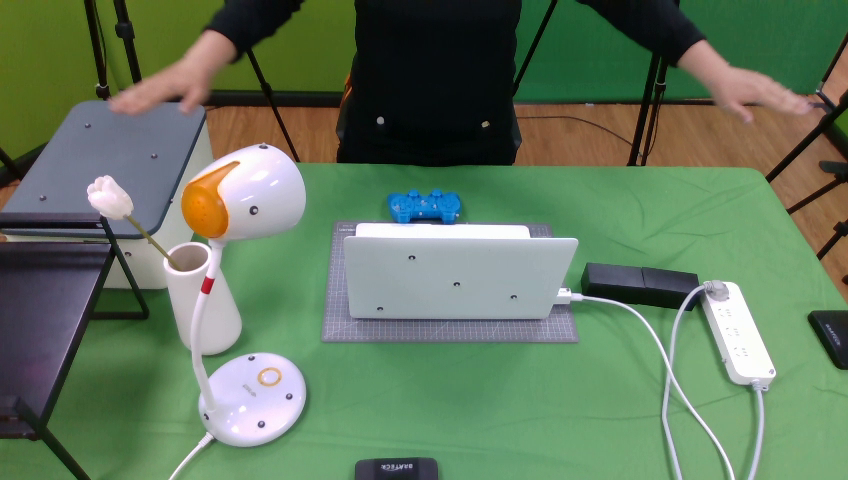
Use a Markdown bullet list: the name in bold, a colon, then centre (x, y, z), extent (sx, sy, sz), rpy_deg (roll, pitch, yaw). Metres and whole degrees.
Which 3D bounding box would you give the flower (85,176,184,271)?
- **flower**: centre (-0.365, 0.038, 0.894), extent (0.038, 0.364, 0.044), rpy_deg (-5, 53, 14)

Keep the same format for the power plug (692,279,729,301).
- **power plug**: centre (0.522, 0.092, 1.115), extent (0.072, 0.053, 0.035), rpy_deg (8, 46, 7)

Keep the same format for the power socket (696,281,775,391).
- **power socket**: centre (0.550, 0.160, 1.078), extent (0.072, 0.033, 0.225), rpy_deg (2, 46, -1)

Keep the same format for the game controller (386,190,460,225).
- **game controller**: centre (-0.001, -0.073, 1.251), extent (0.155, 0.052, 0.096), rpy_deg (-2, 47, -5)

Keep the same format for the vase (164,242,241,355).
- **vase**: centre (-0.349, 0.096, 0.954), extent (0.098, 0.201, 0.097), rpy_deg (3, 47, -3)

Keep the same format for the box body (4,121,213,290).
- **box body**: centre (-0.563, -0.086, 1.139), extent (0.254, 0.161, 0.361), rpy_deg (2, 46, -3)

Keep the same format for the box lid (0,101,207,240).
- **box lid**: centre (-0.559, -0.137, 1.083), extent (0.263, 0.015, 0.369), rpy_deg (2, 46, -2)

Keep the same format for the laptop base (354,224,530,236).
- **laptop base**: centre (0.041, 0.055, 1.149), extent (0.355, 0.023, 0.234), rpy_deg (1, 43, -4)

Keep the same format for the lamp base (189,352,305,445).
- **lamp base**: centre (-0.268, 0.196, 0.876), extent (0.160, 0.181, 0.179), rpy_deg (25, 52, 20)

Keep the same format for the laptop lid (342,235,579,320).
- **laptop lid**: centre (0.051, 0.067, 0.973), extent (0.357, 0.243, 0.013), rpy_deg (1, 52, -5)

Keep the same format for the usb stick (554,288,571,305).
- **usb stick**: centre (0.236, 0.103, 1.101), extent (0.059, 0.027, 0.021), rpy_deg (-2, 46, 1)

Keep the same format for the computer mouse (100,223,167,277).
- **computer mouse**: centre (-0.539, 0.014, 1.123), extent (0.062, 0.041, 0.117), rpy_deg (30, 57, 18)

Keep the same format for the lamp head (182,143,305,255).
- **lamp head**: centre (-0.216, -0.044, 0.697), extent (0.112, 0.113, 0.123), rpy_deg (23, 31, 17)
